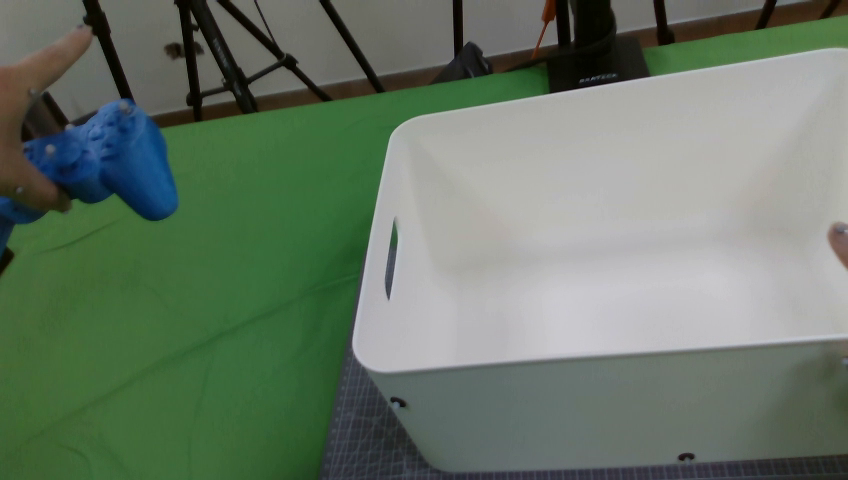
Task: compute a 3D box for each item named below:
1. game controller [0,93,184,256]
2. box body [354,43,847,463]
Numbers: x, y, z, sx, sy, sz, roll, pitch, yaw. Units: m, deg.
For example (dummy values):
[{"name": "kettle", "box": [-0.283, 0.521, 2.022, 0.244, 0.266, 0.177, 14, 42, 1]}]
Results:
[{"name": "game controller", "box": [-0.246, -0.048, 0.413, 0.155, 0.052, 0.096, -16, 57, 0]}, {"name": "box body", "box": [0.158, 0.016, 0.448, 0.363, 0.162, 0.251, -7, 45, 12]}]
